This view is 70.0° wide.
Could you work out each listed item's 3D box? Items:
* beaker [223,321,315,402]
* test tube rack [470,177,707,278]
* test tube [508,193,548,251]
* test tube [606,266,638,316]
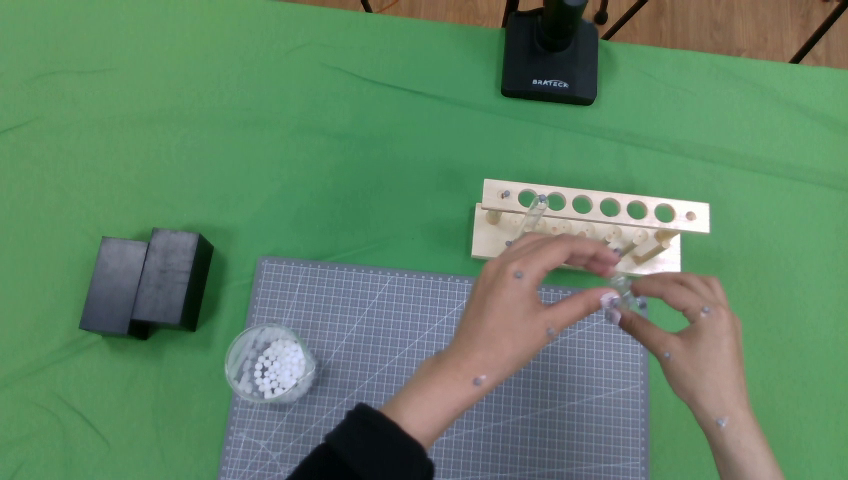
[{"bbox_3d":[-0.148,0.127,0.613,0.084,0.101,0.073,6,73,-1],"label":"beaker"},{"bbox_3d":[0.178,-0.011,0.680,0.242,0.085,0.066,6,73,-1],"label":"test tube rack"},{"bbox_3d":[0.107,-0.016,0.631,0.017,0.151,0.017,1,72,-1],"label":"test tube"},{"bbox_3d":[0.168,0.045,0.511,0.017,0.152,0.017,-6,72,21],"label":"test tube"}]
